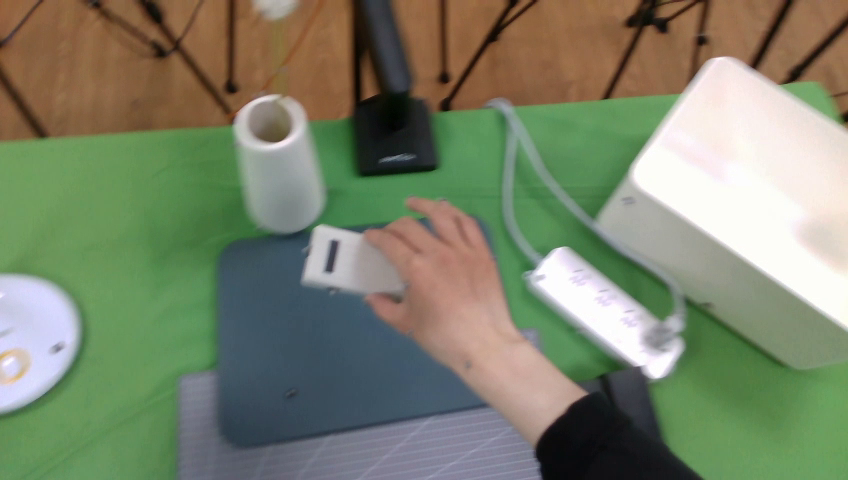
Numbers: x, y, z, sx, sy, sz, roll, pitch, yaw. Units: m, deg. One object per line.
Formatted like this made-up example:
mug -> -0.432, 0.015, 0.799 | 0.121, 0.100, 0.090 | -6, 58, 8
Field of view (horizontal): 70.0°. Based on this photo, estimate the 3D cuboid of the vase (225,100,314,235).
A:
vase -> -0.188, -0.084, 0.742 | 0.098, 0.201, 0.097 | 3, 65, -6

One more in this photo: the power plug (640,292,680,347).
power plug -> 0.310, 0.109, 0.784 | 0.072, 0.053, 0.035 | -36, 73, -24

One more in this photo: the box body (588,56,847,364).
box body -> 0.437, -0.034, 0.814 | 0.363, 0.161, 0.253 | 35, 67, 8

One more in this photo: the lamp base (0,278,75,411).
lamp base -> -0.498, 0.082, 0.643 | 0.160, 0.181, 0.178 | -37, 73, -20

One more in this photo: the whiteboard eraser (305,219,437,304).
whiteboard eraser -> -0.047, 0.020, 0.552 | 0.113, 0.042, 0.055 | 14, 77, -11

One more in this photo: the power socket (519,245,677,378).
power socket -> 0.232, 0.093, 0.806 | 0.226, 0.033, 0.072 | 39, 67, 11

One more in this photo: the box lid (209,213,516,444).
box lid -> -0.079, 0.100, 0.778 | 0.372, 0.015, 0.261 | -7, 68, -10

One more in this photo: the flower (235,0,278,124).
flower -> -0.177, -0.132, 0.674 | 0.044, 0.364, 0.038 | 27, 50, 12
